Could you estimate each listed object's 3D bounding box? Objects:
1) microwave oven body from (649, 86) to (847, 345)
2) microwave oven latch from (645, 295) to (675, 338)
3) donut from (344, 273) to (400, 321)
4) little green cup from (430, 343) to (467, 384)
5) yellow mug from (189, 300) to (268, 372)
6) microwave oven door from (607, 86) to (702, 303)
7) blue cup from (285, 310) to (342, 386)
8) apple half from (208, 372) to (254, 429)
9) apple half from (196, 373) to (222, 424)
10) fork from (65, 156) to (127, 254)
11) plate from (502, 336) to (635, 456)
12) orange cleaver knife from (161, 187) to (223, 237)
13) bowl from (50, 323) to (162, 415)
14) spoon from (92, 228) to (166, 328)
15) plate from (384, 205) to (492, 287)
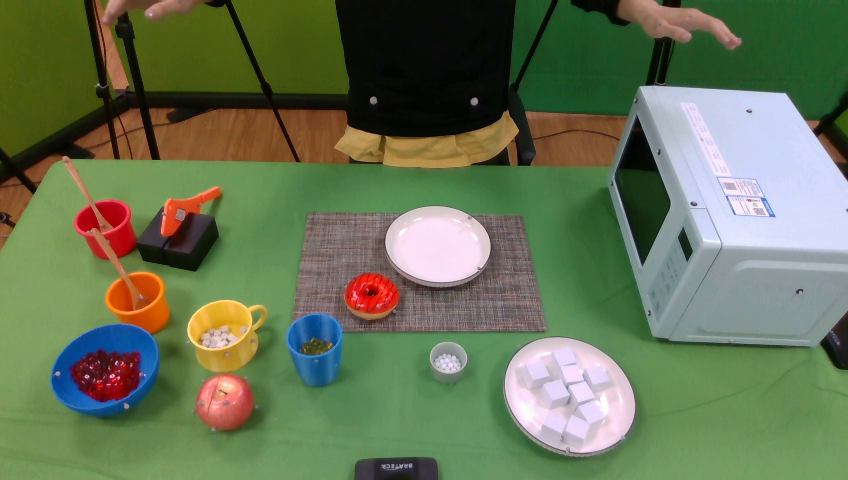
[{"bbox_3d":[0.568,-0.053,1.119,0.326,0.261,0.439,2,45,-1],"label":"microwave oven body"},{"bbox_3d":[0.412,0.134,1.061,0.030,0.029,0.078,3,45,0],"label":"microwave oven latch"},{"bbox_3d":[-0.092,0.099,1.076,0.099,0.048,0.098,3,44,-3],"label":"donut"},{"bbox_3d":[0.039,0.203,0.994,0.061,0.039,0.061,2,46,-2],"label":"little green cup"},{"bbox_3d":[-0.316,0.149,1.002,0.131,0.064,0.099,-32,56,-32],"label":"yellow mug"},{"bbox_3d":[0.423,-0.094,1.141,0.039,0.245,0.353,2,46,-1],"label":"microwave oven door"},{"bbox_3d":[-0.170,0.179,0.958,0.093,0.101,0.092,1,44,-1],"label":"blue cup"},{"bbox_3d":[-0.283,0.244,0.908,0.053,0.075,0.080,7,42,-1],"label":"apple half"},{"bbox_3d":[-0.322,0.239,0.907,0.033,0.081,0.081,7,46,-1],"label":"apple half"},{"bbox_3d":[-0.614,-0.064,1.130,0.028,0.018,0.207,-29,97,-16],"label":"fork"},{"bbox_3d":[0.225,0.248,0.963,0.208,0.039,0.206,2,46,-2],"label":"plate"},{"bbox_3d":[-0.448,-0.058,1.180,0.012,0.077,0.211,13,17,6],"label":"orange cleaver knife"},{"bbox_3d":[-0.472,0.209,0.924,0.151,0.077,0.150,3,45,-2],"label":"bowl"},{"bbox_3d":[-0.495,0.063,1.014,0.041,0.194,0.021,-34,12,-31],"label":"spoon"},{"bbox_3d":[0.027,0.015,1.169,0.209,0.038,0.208,2,46,-2],"label":"plate"}]
